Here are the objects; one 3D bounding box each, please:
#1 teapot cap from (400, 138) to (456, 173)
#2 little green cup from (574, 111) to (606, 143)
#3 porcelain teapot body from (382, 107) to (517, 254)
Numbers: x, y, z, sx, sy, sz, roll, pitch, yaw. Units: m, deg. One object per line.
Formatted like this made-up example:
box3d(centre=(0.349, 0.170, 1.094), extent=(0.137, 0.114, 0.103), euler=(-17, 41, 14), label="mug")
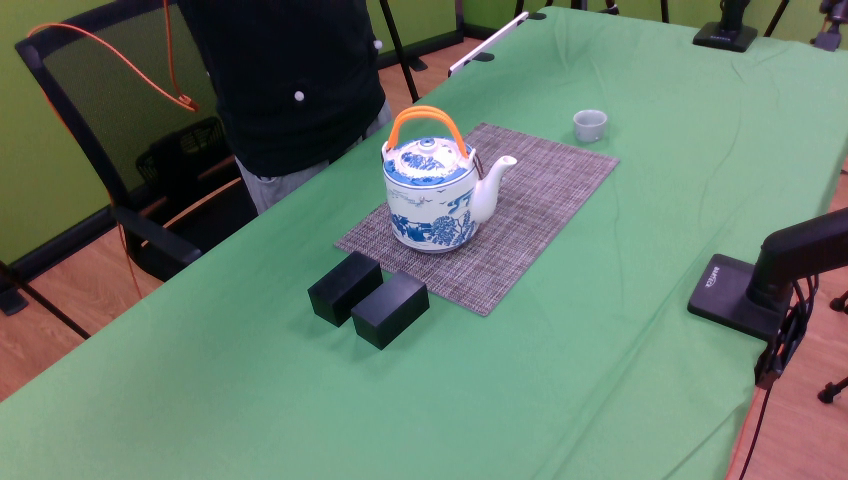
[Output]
box3d(centre=(0.006, -0.127, 0.893), extent=(0.085, 0.044, 0.084), euler=(-3, 44, 3), label="teapot cap")
box3d(centre=(0.318, -0.217, 1.164), extent=(0.061, 0.039, 0.061), euler=(-3, 41, 3), label="little green cup")
box3d(centre=(0.039, -0.095, 0.912), extent=(0.205, 0.226, 0.145), euler=(6, 42, 14), label="porcelain teapot body")
